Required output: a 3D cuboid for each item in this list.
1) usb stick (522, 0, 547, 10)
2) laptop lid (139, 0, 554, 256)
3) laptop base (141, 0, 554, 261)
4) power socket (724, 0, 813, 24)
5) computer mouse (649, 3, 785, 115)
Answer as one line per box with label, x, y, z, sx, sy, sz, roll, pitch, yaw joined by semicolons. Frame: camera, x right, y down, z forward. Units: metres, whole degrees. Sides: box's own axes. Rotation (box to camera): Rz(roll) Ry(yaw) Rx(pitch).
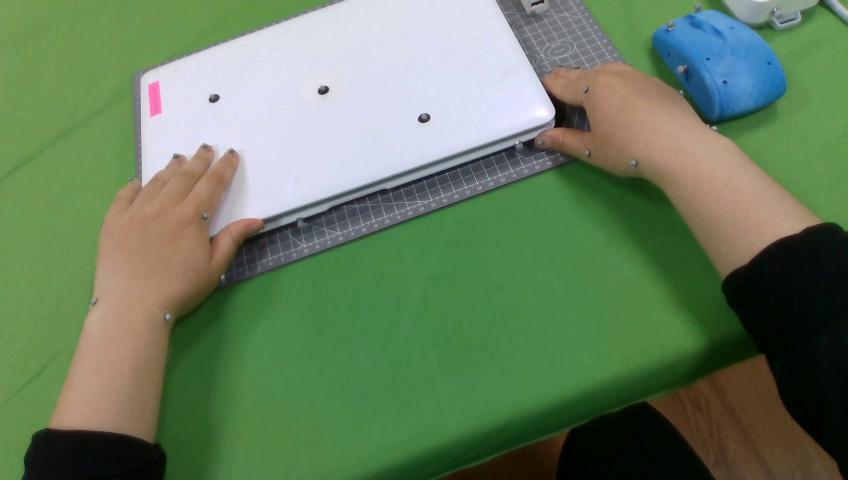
usb stick;0.098;-0.250;0.580;0.021;0.027;0.058;-18;56;4
laptop lid;-0.089;-0.135;0.543;0.357;0.013;0.239;-18;58;2
laptop base;-0.087;-0.129;0.558;0.354;0.023;0.233;-19;62;1
power socket;0.281;-0.285;0.560;0.072;0.033;0.224;-17;58;3
computer mouse;0.235;-0.154;0.492;0.063;0.041;0.116;-20;54;3
